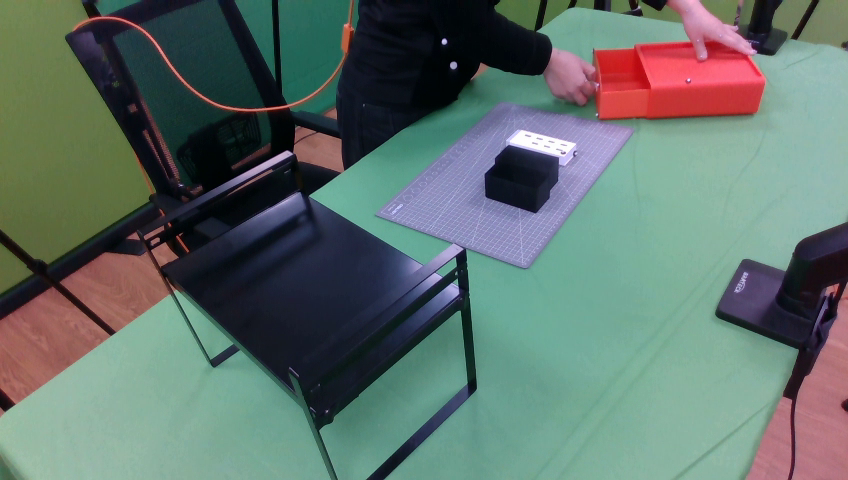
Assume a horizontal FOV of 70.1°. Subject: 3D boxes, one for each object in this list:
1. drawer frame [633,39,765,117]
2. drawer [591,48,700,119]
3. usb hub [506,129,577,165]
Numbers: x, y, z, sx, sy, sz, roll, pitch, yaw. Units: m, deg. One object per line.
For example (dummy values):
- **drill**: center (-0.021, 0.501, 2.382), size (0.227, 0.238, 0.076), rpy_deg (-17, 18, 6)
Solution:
- **drawer frame**: center (0.544, -0.332, 1.233), size (0.213, 0.083, 0.201), rpy_deg (-1, 41, 7)
- **drawer**: center (0.456, -0.329, 1.246), size (0.211, 0.073, 0.194), rpy_deg (1, 41, 9)
- **usb hub**: center (0.221, -0.177, 1.142), size (0.124, 0.025, 0.049), rpy_deg (21, 48, 30)
